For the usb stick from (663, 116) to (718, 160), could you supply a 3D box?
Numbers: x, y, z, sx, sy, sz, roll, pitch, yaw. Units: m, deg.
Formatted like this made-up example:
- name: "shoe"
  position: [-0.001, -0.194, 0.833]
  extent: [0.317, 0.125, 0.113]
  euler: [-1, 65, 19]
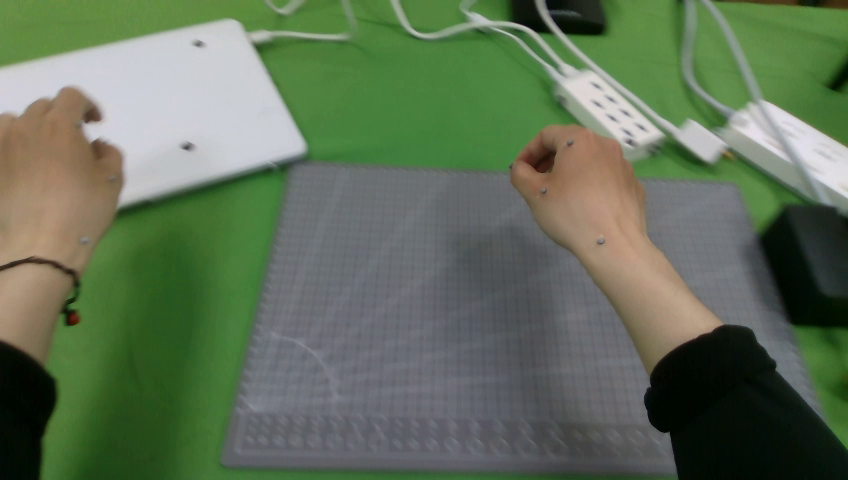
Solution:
- name: "usb stick"
  position: [0.282, -0.104, 0.631]
  extent: [0.059, 0.027, 0.021]
  euler: [32, 12, 1]

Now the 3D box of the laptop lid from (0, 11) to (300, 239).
- name: "laptop lid"
  position: [-0.325, -0.119, 0.584]
  extent: [0.357, 0.013, 0.239]
  euler: [-20, 60, -18]

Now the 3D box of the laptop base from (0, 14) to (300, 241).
- name: "laptop base"
  position: [-0.327, -0.114, 0.595]
  extent: [0.355, 0.023, 0.233]
  euler: [-21, 61, -19]

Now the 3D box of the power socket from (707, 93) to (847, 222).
- name: "power socket"
  position: [0.403, -0.076, 0.616]
  extent: [0.072, 0.033, 0.225]
  euler: [-35, 62, -27]

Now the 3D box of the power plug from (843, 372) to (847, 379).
- name: "power plug"
  position: [0.359, 0.095, 0.479]
  extent: [0.035, 0.053, 0.072]
  euler: [40, 45, 1]

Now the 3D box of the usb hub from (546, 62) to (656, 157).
- name: "usb hub"
  position: [0.188, -0.144, 0.654]
  extent: [0.049, 0.025, 0.124]
  euler: [-23, 58, -20]
